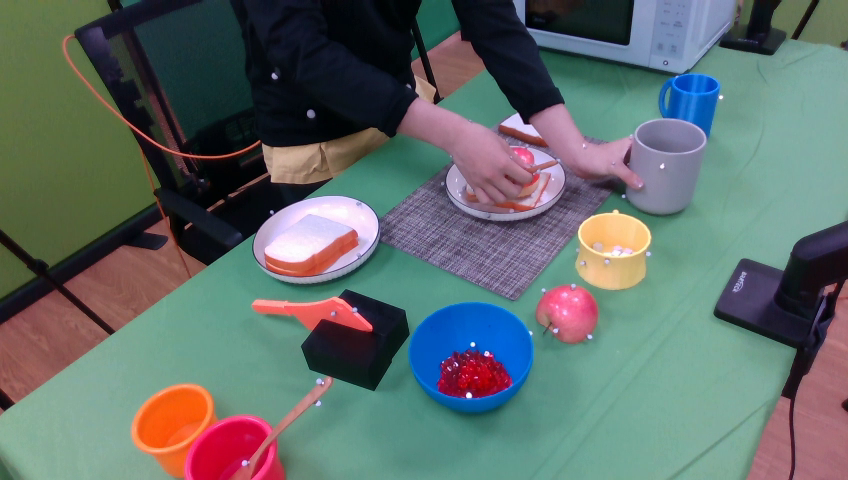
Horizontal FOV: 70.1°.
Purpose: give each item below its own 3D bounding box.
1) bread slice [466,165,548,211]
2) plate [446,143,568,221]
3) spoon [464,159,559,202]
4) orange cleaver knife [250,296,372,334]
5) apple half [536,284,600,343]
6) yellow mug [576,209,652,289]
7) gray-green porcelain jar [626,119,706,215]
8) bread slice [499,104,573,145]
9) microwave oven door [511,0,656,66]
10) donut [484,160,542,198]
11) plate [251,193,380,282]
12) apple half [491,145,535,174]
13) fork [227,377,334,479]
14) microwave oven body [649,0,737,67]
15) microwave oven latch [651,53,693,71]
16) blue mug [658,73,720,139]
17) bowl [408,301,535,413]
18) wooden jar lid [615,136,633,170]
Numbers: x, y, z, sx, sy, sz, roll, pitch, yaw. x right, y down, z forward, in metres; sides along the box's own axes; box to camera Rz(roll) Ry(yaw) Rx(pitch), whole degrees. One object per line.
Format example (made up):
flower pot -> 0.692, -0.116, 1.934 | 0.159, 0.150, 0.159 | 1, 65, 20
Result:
bread slice -> 0.141, -0.089, 1.048 | 0.134, 0.018, 0.107 | 13, 43, 14
plate -> 0.142, -0.097, 1.045 | 0.207, 0.039, 0.206 | -4, 40, 4
spoon -> 0.132, -0.092, 0.939 | 0.042, 0.192, 0.021 | -9, 79, -40
orange cleaver knife -> -0.159, 0.103, 0.828 | 0.210, 0.078, 0.012 | -4, 43, 39
apple half -> 0.196, 0.091, 0.815 | 0.075, 0.053, 0.080 | -22, 42, -20
yellow mug -> 0.279, 0.004, 0.893 | 0.099, 0.064, 0.130 | 5, 42, 14
gray-green porcelain jar -> 0.382, -0.113, 0.966 | 0.106, 0.127, 0.105 | -4, 41, 4
bread slice -> 0.231, -0.231, 1.206 | 0.105, 0.019, 0.130 | -37, 46, -28
microwave oven door -> 0.350, -0.539, 1.348 | 0.353, 0.245, 0.039 | 24, 50, 31
donut -> 0.149, -0.109, 1.015 | 0.099, 0.048, 0.098 | -4, 40, 4
plate -> -0.174, -0.001, 0.984 | 0.209, 0.038, 0.208 | -3, 40, 3
apple half -> 0.147, -0.138, 0.993 | 0.081, 0.033, 0.081 | 0, 36, 0
fork -> -0.163, 0.216, 0.647 | 0.207, 0.019, 0.028 | -49, 41, 16
microwave oven body -> 0.475, -0.602, 1.411 | 0.438, 0.261, 0.327 | 23, 50, 32
microwave oven latch -> 0.532, -0.386, 1.301 | 0.078, 0.029, 0.030 | 27, 52, 34
blue mug -> 0.483, -0.250, 1.127 | 0.082, 0.106, 0.115 | -26, 44, -19
bowl -> 0.060, 0.156, 0.739 | 0.151, 0.077, 0.150 | -4, 40, 4
wooden jar lid -> 0.398, -0.151, 1.086 | 0.108, 0.021, 0.108 | -2, 43, 2
